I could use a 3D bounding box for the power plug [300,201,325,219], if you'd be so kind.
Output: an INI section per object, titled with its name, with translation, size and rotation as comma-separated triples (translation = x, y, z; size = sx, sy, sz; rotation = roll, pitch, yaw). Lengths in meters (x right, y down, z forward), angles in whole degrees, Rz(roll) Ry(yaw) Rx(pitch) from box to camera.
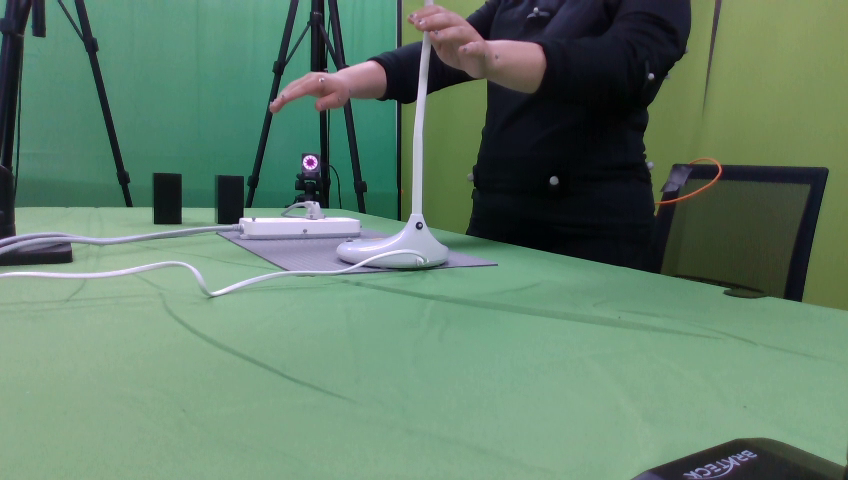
[power plug]
translation = -0.207, -0.046, 1.120
size = 0.035, 0.052, 0.072
rotation = 1, 4, -21

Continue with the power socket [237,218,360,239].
[power socket]
translation = -0.220, -0.023, 1.080
size = 0.228, 0.032, 0.072
rotation = -2, 7, -33

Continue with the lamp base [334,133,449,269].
[lamp base]
translation = -0.034, -0.057, 0.831
size = 0.161, 0.180, 0.178
rotation = -3, 11, -36
